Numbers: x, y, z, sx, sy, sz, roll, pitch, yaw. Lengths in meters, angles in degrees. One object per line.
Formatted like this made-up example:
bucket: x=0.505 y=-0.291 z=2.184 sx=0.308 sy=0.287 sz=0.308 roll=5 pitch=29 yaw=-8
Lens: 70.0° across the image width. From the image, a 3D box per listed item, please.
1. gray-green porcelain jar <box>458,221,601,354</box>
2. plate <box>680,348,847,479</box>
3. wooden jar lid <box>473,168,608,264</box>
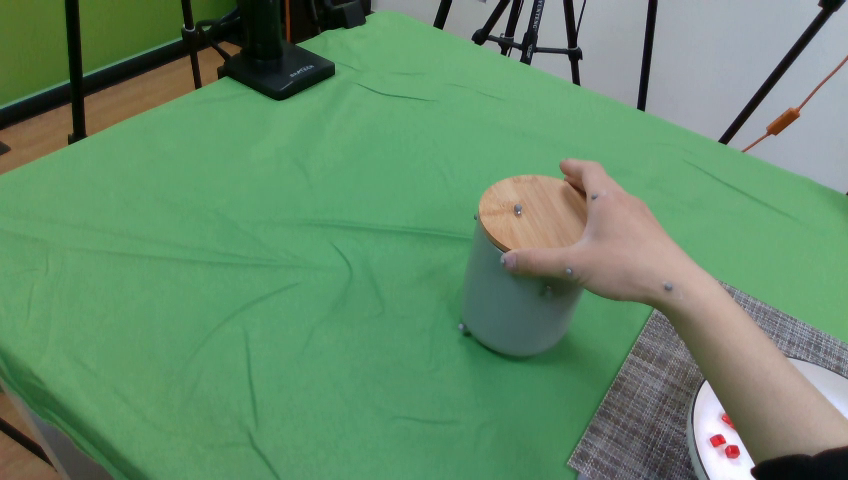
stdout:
gray-green porcelain jar: x=0.088 y=0.031 z=0.541 sx=0.106 sy=0.127 sz=0.105 roll=5 pitch=43 yaw=-4
plate: x=0.304 y=0.180 z=0.478 sx=0.208 sy=0.039 sz=0.205 roll=5 pitch=43 yaw=-4
wooden jar lid: x=0.094 y=-0.018 z=0.496 sx=0.108 sy=0.021 sz=0.107 roll=-1 pitch=48 yaw=1
